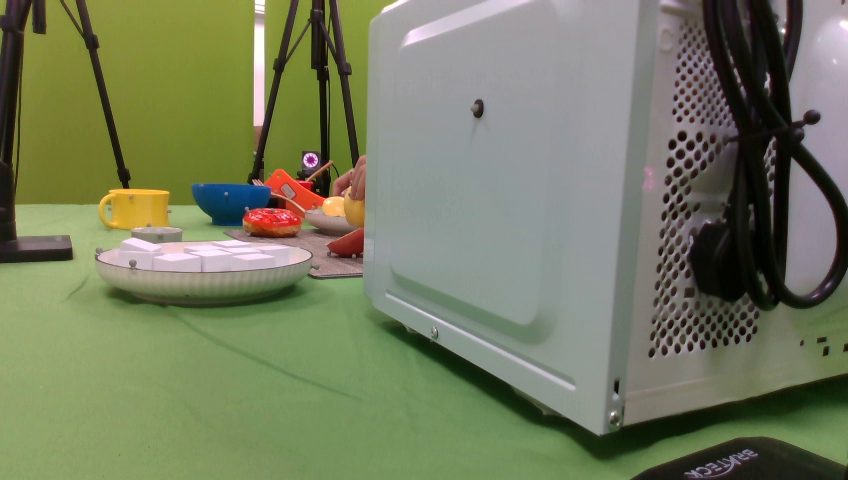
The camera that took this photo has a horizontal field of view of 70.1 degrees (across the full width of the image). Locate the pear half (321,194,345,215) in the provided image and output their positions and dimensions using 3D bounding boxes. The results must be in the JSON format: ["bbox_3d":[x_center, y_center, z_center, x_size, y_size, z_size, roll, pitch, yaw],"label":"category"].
[{"bbox_3d":[-0.157,-0.065,1.192,0.088,0.031,0.070,22,47,-9],"label":"pear half"}]

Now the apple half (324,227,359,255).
[{"bbox_3d":[-0.095,0.002,0.848,0.081,0.033,0.081,-21,0,0],"label":"apple half"}]

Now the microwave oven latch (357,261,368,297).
[{"bbox_3d":[-0.019,0.033,0.531,0.079,0.029,0.030,-1,7,-27],"label":"microwave oven latch"}]

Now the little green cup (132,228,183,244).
[{"bbox_3d":[-0.342,0.006,0.779,0.061,0.038,0.061,2,8,0],"label":"little green cup"}]

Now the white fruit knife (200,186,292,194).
[{"bbox_3d":[-0.399,-0.111,1.368,0.208,0.016,0.027,-4,-19,-30],"label":"white fruit knife"}]

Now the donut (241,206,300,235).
[{"bbox_3d":[-0.263,-0.031,1.039,0.099,0.048,0.099,4,10,0],"label":"donut"}]

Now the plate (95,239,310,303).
[{"bbox_3d":[-0.224,0.031,0.629,0.208,0.039,0.207,2,7,0],"label":"plate"}]

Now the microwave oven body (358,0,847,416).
[{"bbox_3d":[0.211,-0.047,0.474,0.444,0.260,0.324,-1,7,-28],"label":"microwave oven body"}]

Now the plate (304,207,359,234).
[{"bbox_3d":[-0.123,-0.037,1.149,0.209,0.038,0.209,2,7,0],"label":"plate"}]

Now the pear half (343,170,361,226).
[{"bbox_3d":[-0.082,-0.073,0.940,0.055,0.109,0.077,10,11,33],"label":"pear half"}]

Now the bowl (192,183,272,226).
[{"bbox_3d":[-0.381,-0.071,1.202,0.151,0.077,0.151,3,7,0],"label":"bowl"}]

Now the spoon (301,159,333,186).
[{"bbox_3d":[-0.316,-0.159,1.639,0.194,0.022,0.041,-49,33,-20],"label":"spoon"}]

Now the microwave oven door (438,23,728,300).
[{"bbox_3d":[0.181,-0.072,0.621,0.358,0.243,0.039,-2,8,-29],"label":"microwave oven door"}]

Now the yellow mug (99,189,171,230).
[{"bbox_3d":[-0.519,-0.055,1.080,0.099,0.064,0.131,7,10,26],"label":"yellow mug"}]

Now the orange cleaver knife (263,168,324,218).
[{"bbox_3d":[-0.262,-0.088,1.353,0.211,0.077,0.012,28,13,-1],"label":"orange cleaver knife"}]

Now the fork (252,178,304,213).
[{"bbox_3d":[-0.295,-0.084,1.292,0.206,0.018,0.028,29,10,25],"label":"fork"}]

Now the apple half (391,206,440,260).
[{"bbox_3d":[-0.006,-0.009,0.837,0.053,0.074,0.081,10,6,23],"label":"apple half"}]
